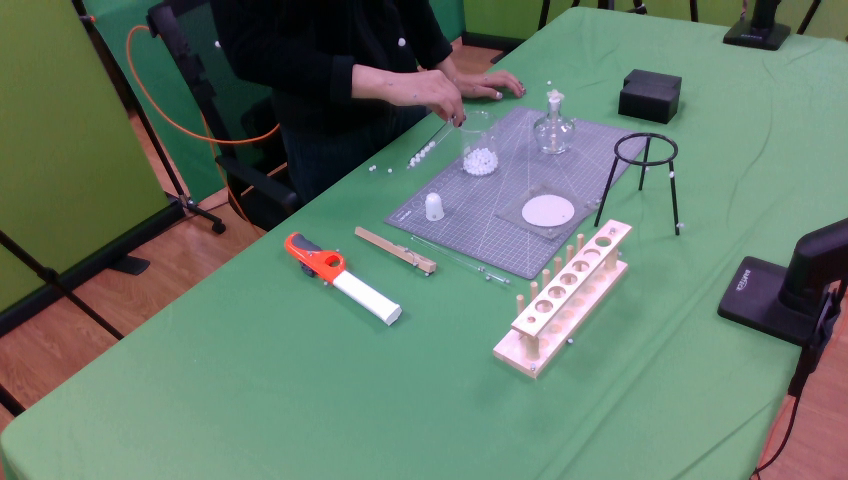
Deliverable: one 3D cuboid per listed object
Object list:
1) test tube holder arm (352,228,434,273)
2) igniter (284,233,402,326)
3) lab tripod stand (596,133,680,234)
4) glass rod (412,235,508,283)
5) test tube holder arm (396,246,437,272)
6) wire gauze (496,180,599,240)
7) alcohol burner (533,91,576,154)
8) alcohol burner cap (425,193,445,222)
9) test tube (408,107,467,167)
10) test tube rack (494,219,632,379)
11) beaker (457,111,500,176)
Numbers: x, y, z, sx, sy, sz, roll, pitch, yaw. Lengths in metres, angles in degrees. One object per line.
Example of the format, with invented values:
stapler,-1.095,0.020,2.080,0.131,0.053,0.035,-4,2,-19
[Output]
test tube holder arm,-0.053,0.014,0.978,0.177,0.015,0.013,25,15,34
igniter,-0.136,0.054,0.942,0.274,0.025,0.057,30,63,37
lab tripod stand,0.338,-0.090,0.940,0.148,0.132,0.147,-7,39,6
glass rod,0.051,0.028,0.951,0.198,0.008,0.008,25,51,37
test tube holder arm,-0.016,0.030,0.957,0.087,0.015,0.010,25,15,35
wire gauze,0.206,-0.050,1.012,0.125,0.011,0.120,-34,45,-26
alcohol burner,0.243,-0.222,1.124,0.078,0.119,0.077,-4,39,4
alcohol burner cap,0.017,-0.058,1.029,0.034,0.048,0.033,-5,40,5
test tube,0.023,-0.173,1.013,0.017,0.017,0.150,25,62,34
test tube rack,0.191,0.068,0.818,0.066,0.085,0.243,25,51,35
beaker,0.104,-0.175,1.108,0.073,0.101,0.084,16,46,27
